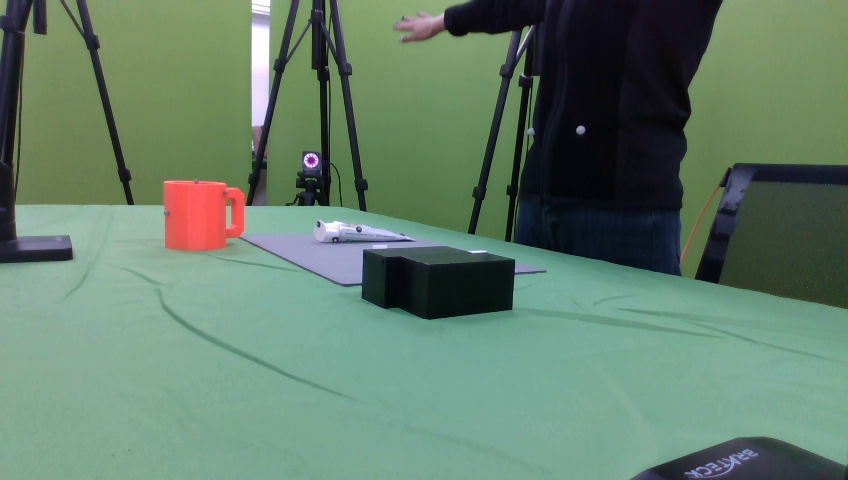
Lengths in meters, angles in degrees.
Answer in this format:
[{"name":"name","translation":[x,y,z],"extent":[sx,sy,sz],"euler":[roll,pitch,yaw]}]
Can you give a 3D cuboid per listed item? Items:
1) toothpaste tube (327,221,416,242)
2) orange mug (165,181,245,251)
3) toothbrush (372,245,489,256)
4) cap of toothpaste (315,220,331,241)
[{"name":"toothpaste tube","translation":[-0.095,-0.013,1.026],"extent":[0.166,0.034,0.055],"euler":[2,13,-33]},{"name":"orange mug","translation":[-0.326,-0.040,0.911],"extent":[0.083,0.101,0.127],"euler":[8,14,37]},{"name":"toothbrush","translation":[0.012,0.016,0.874],"extent":[0.183,0.016,0.014],"euler":[1,-6,-22]},{"name":"cap of toothpaste","translation":[-0.164,-0.016,0.982],"extent":[0.011,0.037,0.037],"euler":[-9,12,-43]}]
